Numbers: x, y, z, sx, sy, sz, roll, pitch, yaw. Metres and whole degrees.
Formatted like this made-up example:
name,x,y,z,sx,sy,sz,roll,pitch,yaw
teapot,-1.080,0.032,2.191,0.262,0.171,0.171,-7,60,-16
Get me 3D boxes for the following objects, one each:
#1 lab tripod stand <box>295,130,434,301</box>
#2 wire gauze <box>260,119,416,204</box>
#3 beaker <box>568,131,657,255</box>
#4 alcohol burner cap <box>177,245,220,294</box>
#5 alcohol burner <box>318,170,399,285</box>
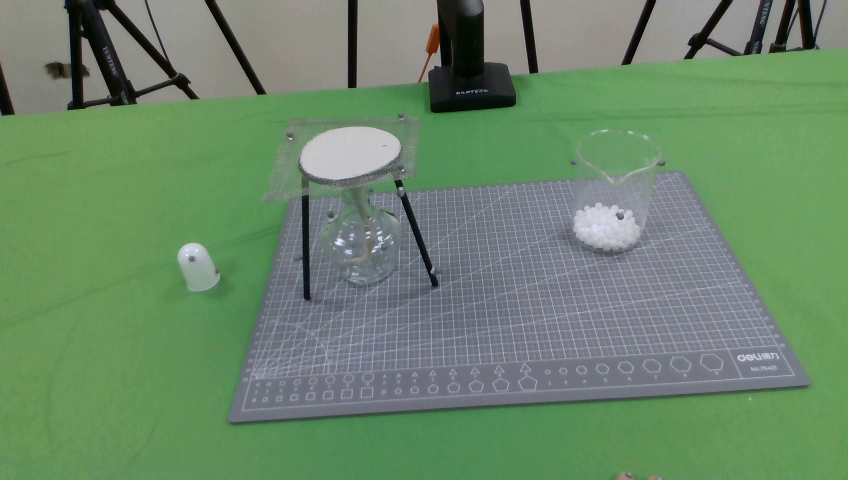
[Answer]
name,x,y,z,sx,sy,sz,roll,pitch,yaw
lab tripod stand,-0.062,-0.024,0.558,0.148,0.133,0.147,-4,39,4
wire gauze,-0.068,-0.073,0.512,0.121,0.011,0.124,-4,38,3
beaker,0.177,-0.041,0.579,0.074,0.101,0.083,5,41,13
alcohol burner cap,-0.223,0.026,0.593,0.034,0.048,0.033,-2,41,3
alcohol burner,-0.062,-0.016,0.564,0.078,0.120,0.077,-2,41,2
